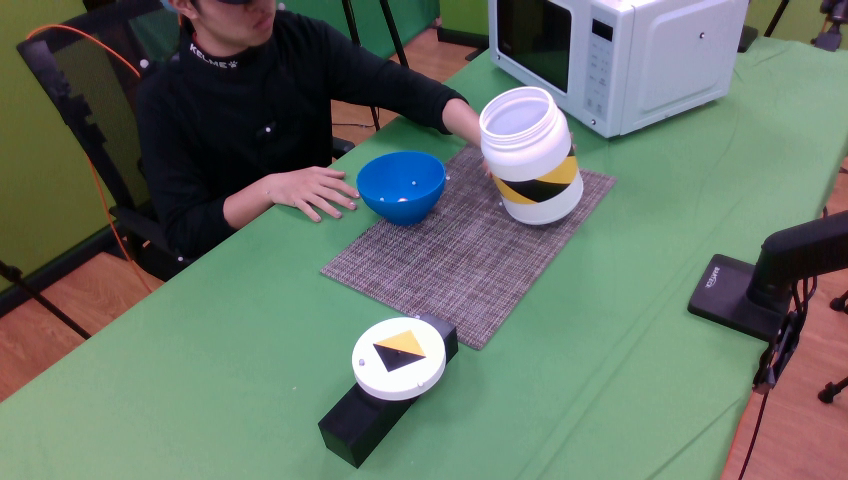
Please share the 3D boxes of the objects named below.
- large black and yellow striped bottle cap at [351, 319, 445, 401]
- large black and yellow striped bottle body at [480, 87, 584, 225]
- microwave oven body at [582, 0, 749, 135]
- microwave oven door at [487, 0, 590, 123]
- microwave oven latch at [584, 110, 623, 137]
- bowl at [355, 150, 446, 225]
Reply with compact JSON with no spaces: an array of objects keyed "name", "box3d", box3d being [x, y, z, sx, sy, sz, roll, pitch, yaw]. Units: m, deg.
[{"name":"large black and yellow striped bottle cap","box3d":[-0.031,0.143,0.735,0.115,0.019,0.114,-3,40,3]},{"name":"large black and yellow striped bottle body","box3d":[0.163,-0.127,0.921,0.130,0.185,0.130,-15,46,16]},{"name":"microwave oven body","box3d":[0.382,-0.444,1.246,0.327,0.261,0.437,-22,42,-16]},{"name":"microwave oven door","box3d":[0.232,-0.420,1.230,0.039,0.245,0.352,-22,43,-16]},{"name":"microwave oven latch","box3d":[0.337,-0.222,1.142,0.030,0.029,0.078,-21,42,-14]},{"name":"bowl","box3d":[-0.035,-0.078,1.017,0.151,0.077,0.150,-4,40,4]}]
